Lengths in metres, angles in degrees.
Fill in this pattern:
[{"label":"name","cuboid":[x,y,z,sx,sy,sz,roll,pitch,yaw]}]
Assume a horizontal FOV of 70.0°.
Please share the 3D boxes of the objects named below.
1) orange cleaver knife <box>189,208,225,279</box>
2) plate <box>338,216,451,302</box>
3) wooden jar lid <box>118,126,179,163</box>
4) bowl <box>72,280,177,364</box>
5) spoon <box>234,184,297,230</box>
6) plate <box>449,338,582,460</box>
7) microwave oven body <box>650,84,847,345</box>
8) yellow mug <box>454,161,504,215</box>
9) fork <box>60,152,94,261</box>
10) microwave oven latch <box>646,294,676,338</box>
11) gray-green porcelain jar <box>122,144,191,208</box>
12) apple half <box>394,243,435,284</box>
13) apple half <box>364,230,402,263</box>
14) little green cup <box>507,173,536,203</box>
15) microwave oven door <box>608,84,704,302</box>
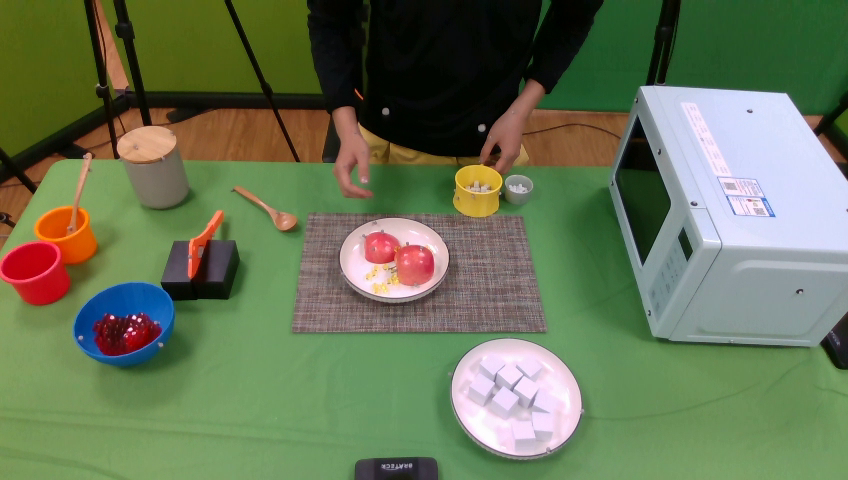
[{"label":"orange cleaver knife","cuboid":[-0.400,0.002,1.122,0.012,0.077,0.210,4,23,-4]},{"label":"plate","cuboid":[-0.054,0.038,1.138,0.209,0.038,0.208,2,46,-2]},{"label":"wooden jar lid","cuboid":[-0.528,-0.181,1.167,0.108,0.021,0.107,3,47,-4]},{"label":"bowl","cuboid":[-0.473,0.147,0.982,0.151,0.077,0.150,2,46,-2]},{"label":"spoon","cuboid":[-0.327,-0.073,1.240,0.193,0.022,0.041,34,69,25]},{"label":"plate","cuboid":[0.141,0.251,0.956,0.208,0.039,0.206,2,47,-2]},{"label":"microwave oven body","cuboid":[0.569,-0.054,1.116,0.326,0.261,0.439,2,46,-1]},{"label":"yellow mug","cuboid":[0.118,-0.118,1.283,0.100,0.064,0.130,8,43,6]},{"label":"fork","cuboid":[-0.638,-0.063,1.119,0.028,0.018,0.207,12,90,9]},{"label":"microwave oven latch","cuboid":[0.412,0.133,1.060,0.030,0.029,0.078,3,46,0]},{"label":"gray-green porcelain jar","cuboid":[-0.531,-0.137,1.214,0.106,0.127,0.105,2,47,-2]},{"label":"apple half","cuboid":[-0.016,0.036,1.120,0.075,0.053,0.080,1,46,-6]},{"label":"apple half","cuboid":[-0.079,0.005,1.159,0.081,0.033,0.081,3,49,-3]},{"label":"little green cup","cuboid":[0.206,-0.111,1.301,0.061,0.039,0.061,3,45,-3]},{"label":"microwave oven door","cuboid":[0.424,-0.096,1.138,0.039,0.245,0.353,3,46,-1]}]
